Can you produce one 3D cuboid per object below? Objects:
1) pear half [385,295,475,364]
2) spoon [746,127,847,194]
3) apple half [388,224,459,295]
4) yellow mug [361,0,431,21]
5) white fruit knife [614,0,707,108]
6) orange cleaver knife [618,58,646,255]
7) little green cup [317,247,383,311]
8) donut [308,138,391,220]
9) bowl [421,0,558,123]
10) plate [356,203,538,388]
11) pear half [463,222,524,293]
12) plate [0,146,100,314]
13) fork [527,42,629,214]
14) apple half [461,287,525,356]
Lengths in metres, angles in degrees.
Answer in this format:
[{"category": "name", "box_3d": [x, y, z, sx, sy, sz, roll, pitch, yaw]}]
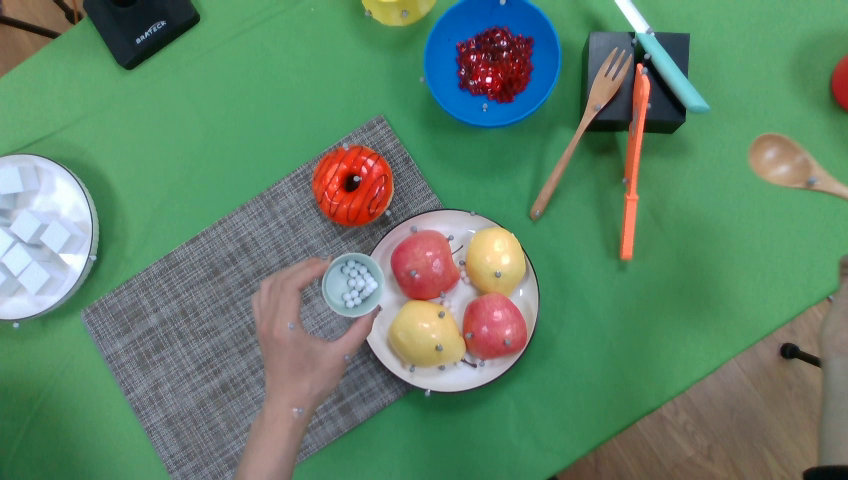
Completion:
[{"category": "pear half", "box_3d": [0.011, 0.109, 0.679, 0.110, 0.056, 0.076, 30, 93, 3]}, {"category": "spoon", "box_3d": [0.353, -0.034, 0.489, 0.192, 0.022, 0.041, 36, 88, 23]}, {"category": "apple half", "box_3d": [-0.003, 0.023, 0.683, 0.074, 0.053, 0.080, -16, 88, 5]}, {"category": "yellow mug", "box_3d": [-0.052, -0.329, 0.722, 0.130, 0.064, 0.100, 24, 88, 8]}, {"category": "white fruit knife", "box_3d": [0.241, -0.227, 0.662, 0.027, 0.016, 0.206, -27, 80, -26]}, {"category": "orange cleaver knife", "box_3d": [0.228, -0.089, 0.669, 0.012, 0.077, 0.212, 3, 111, 11]}, {"category": "little green cup", "box_3d": [-0.074, 0.038, 0.584, 0.062, 0.038, 0.061, 0, 89, -21]}, {"category": "donut", "box_3d": [-0.087, -0.072, 0.713, 0.099, 0.048, 0.099, 0, 87, 8]}, {"category": "bowl", "box_3d": [0.074, -0.199, 0.694, 0.151, 0.077, 0.151, 0, 86, 5]}, {"category": "plate", "box_3d": [0.026, 0.062, 0.695, 0.209, 0.038, 0.208, 0, 85, 5]}, {"category": "pear half", "box_3d": [0.074, 0.024, 0.679, 0.070, 0.031, 0.088, -3, 96, 29]}, {"category": "plate", "box_3d": [-0.498, -0.012, 0.755, 0.207, 0.039, 0.207, 0, 86, 6]}, {"category": "fork", "box_3d": [0.166, -0.118, 0.674, 0.028, 0.018, 0.208, 25, 109, -2]}, {"category": "apple half", "box_3d": [0.068, 0.093, 0.671, 0.081, 0.033, 0.081, 3, 96, 27]}]
